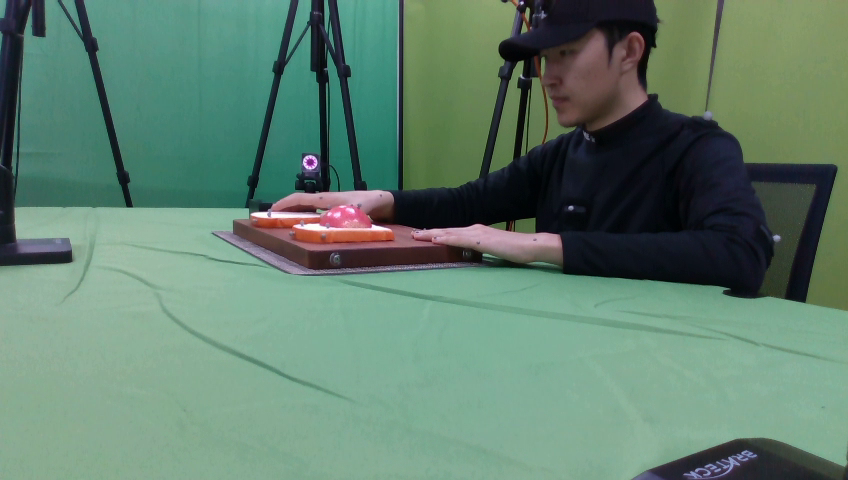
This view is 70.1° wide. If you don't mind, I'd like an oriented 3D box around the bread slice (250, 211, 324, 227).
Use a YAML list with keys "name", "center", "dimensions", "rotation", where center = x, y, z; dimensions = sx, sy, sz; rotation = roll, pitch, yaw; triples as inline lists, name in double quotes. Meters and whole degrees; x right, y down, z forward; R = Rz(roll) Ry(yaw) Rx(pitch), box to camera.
- name: "bread slice"
  center: [-0.223, -0.036, 1.021]
  dimensions: [0.135, 0.018, 0.106]
  rotation: [-3, 8, -33]

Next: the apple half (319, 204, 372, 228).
- name: "apple half"
  center: [-0.112, -0.035, 0.876]
  dimensions: [0.081, 0.033, 0.081]
  rotation: [1, 6, 0]

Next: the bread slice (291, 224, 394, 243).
- name: "bread slice"
  center: [-0.122, -0.011, 0.869]
  dimensions: [0.132, 0.019, 0.104]
  rotation: [-1, 7, -32]
